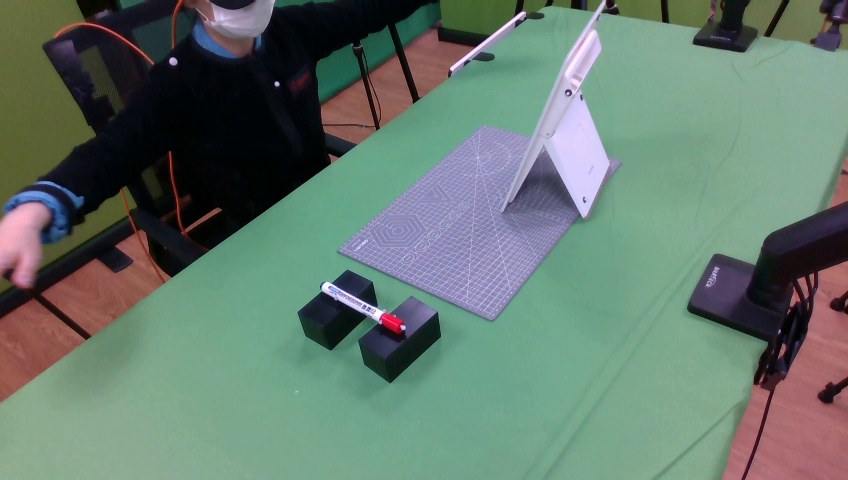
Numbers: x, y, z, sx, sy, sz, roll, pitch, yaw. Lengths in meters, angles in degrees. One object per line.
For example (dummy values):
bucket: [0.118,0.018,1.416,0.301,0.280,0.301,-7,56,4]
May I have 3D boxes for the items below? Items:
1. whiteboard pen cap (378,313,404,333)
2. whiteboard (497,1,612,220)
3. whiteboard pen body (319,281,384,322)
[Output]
whiteboard pen cap: [-0.043,0.106,0.777,0.032,0.017,0.017,23,49,33]
whiteboard: [0.260,-0.178,0.963,0.143,0.306,0.217,28,49,9]
whiteboard pen body: [-0.088,0.086,0.806,0.139,0.017,0.017,23,49,32]
